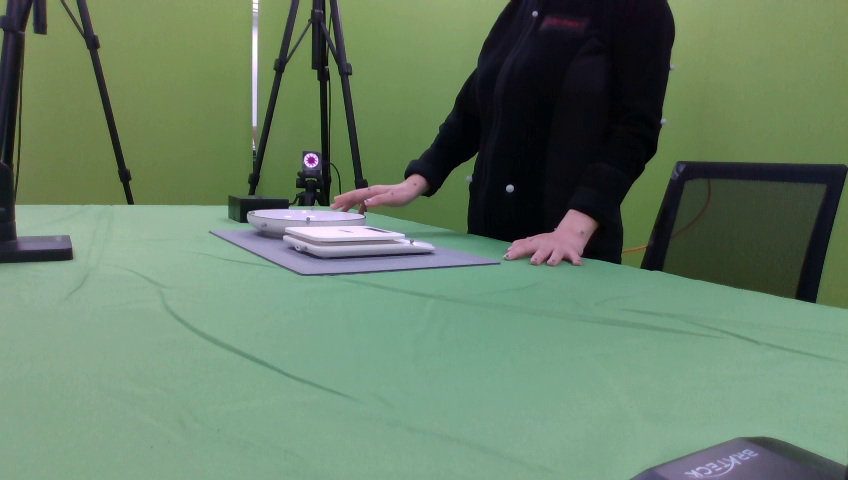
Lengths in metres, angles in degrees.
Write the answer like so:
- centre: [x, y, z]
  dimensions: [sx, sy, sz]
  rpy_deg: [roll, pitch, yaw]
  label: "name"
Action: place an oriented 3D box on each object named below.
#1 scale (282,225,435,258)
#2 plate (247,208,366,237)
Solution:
- centre: [-0.098, 0.000, 0.914]
  dimensions: [0.202, 0.031, 0.148]
  rpy_deg: [-2, 9, -33]
  label: "scale"
- centre: [-0.208, -0.030, 1.082]
  dimensions: [0.209, 0.038, 0.209]
  rpy_deg: [2, 7, 0]
  label: "plate"
